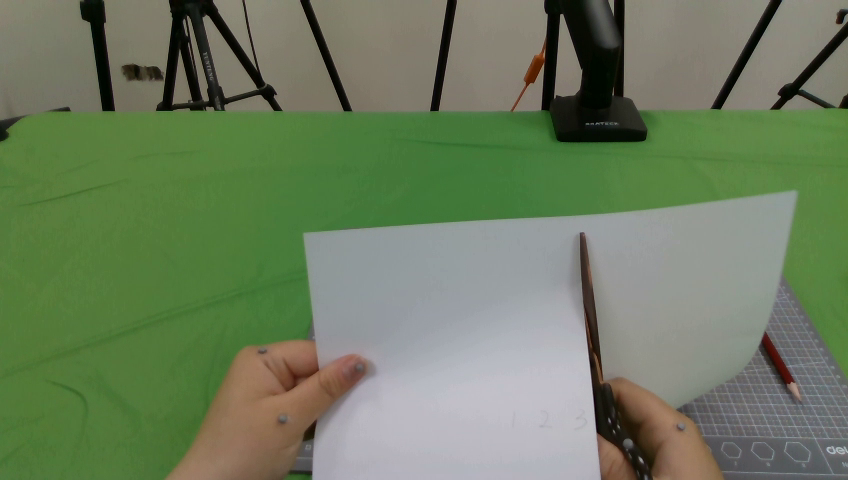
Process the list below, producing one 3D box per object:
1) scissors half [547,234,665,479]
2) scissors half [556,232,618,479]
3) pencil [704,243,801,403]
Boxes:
[{"bbox_3d":[0.099,0.077,0.335,0.013,0.040,0.174,-15,74,-12],"label":"scissors half"},{"bbox_3d":[0.094,0.080,0.357,0.013,0.175,0.040,-15,11,-17],"label":"scissors half"},{"bbox_3d":[0.291,0.066,0.544,0.012,0.012,0.192,-2,39,1],"label":"pencil"}]
